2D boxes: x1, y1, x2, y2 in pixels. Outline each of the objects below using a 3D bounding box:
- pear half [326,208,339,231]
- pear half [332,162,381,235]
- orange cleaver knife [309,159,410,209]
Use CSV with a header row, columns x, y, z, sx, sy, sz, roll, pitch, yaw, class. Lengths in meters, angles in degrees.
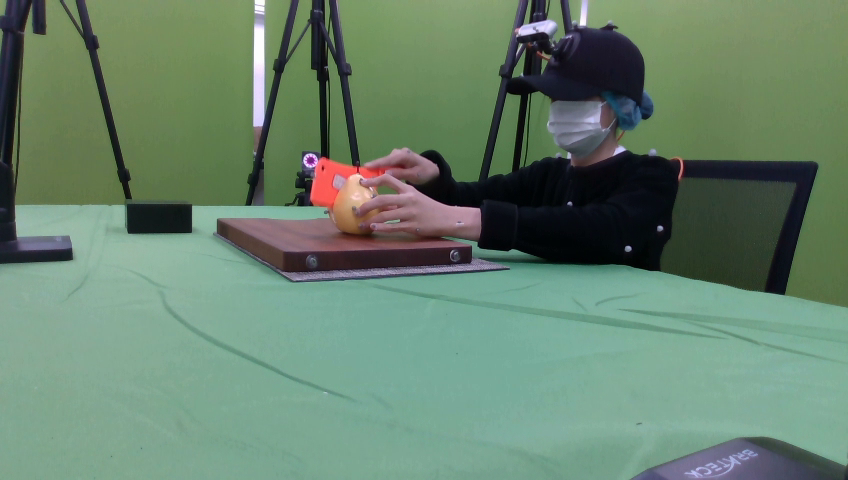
x,y,z,sx,sy,sz,roll,pitch,yaw,class
-0.128,-0.054,0.928,0.031,0.088,0.071,-4,8,35,pear half
-0.093,-0.061,0.900,0.055,0.110,0.077,8,14,37,pear half
-0.096,-0.086,0.941,0.012,0.077,0.212,5,8,39,orange cleaver knife
